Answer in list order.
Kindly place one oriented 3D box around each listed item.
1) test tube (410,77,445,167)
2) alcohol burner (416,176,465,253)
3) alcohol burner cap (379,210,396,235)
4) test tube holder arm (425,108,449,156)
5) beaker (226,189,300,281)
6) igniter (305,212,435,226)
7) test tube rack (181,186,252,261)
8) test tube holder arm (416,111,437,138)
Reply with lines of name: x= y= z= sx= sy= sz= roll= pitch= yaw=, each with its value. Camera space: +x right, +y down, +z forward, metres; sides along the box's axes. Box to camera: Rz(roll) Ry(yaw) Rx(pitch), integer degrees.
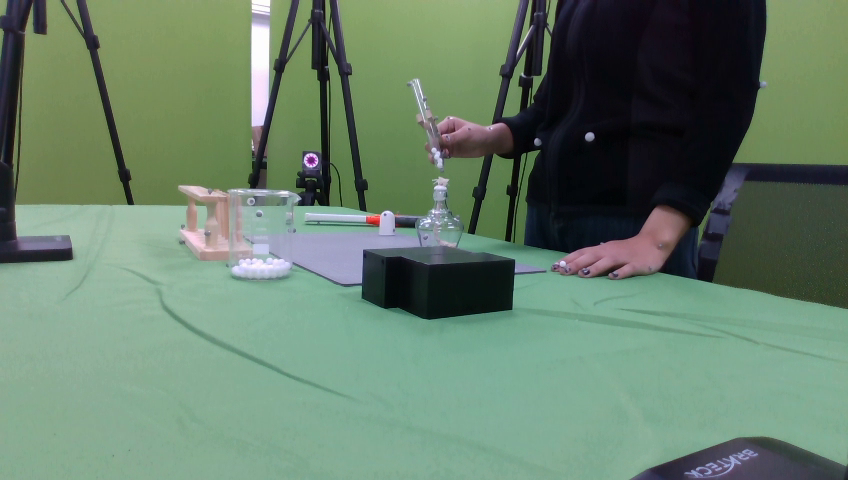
test tube: x=0.006 y=-0.184 z=0.941 sx=0.017 sy=0.150 sz=0.017 roll=-16 pitch=-10 yaw=-3
alcohol burner: x=0.025 y=-0.040 z=0.935 sx=0.078 sy=0.119 sz=0.078 roll=1 pitch=6 yaw=0
alcohol burner cap: x=-0.067 y=-0.033 z=1.129 sx=0.034 sy=0.048 sz=0.034 roll=1 pitch=7 yaw=0
test tube holder arm: x=0.024 y=-0.176 z=1.006 sx=0.013 sy=0.015 sz=0.179 roll=-19 pitch=-15 yaw=8
beaker: x=-0.184 y=-0.007 z=0.694 sx=0.084 sy=0.100 sz=0.073 roll=-1 pitch=8 yaw=-29
igniter: x=-0.114 y=-0.046 z=1.296 sx=0.277 sy=0.025 sz=0.057 roll=1 pitch=-2 yaw=-11
test tube rack: x=-0.312 y=-0.031 z=0.893 sx=0.067 sy=0.085 sz=0.241 roll=-1 pitch=8 yaw=-27
test tube holder arm: x=0.007 y=-0.182 z=0.965 sx=0.010 sy=0.015 sz=0.088 roll=-22 pitch=-16 yaw=16
